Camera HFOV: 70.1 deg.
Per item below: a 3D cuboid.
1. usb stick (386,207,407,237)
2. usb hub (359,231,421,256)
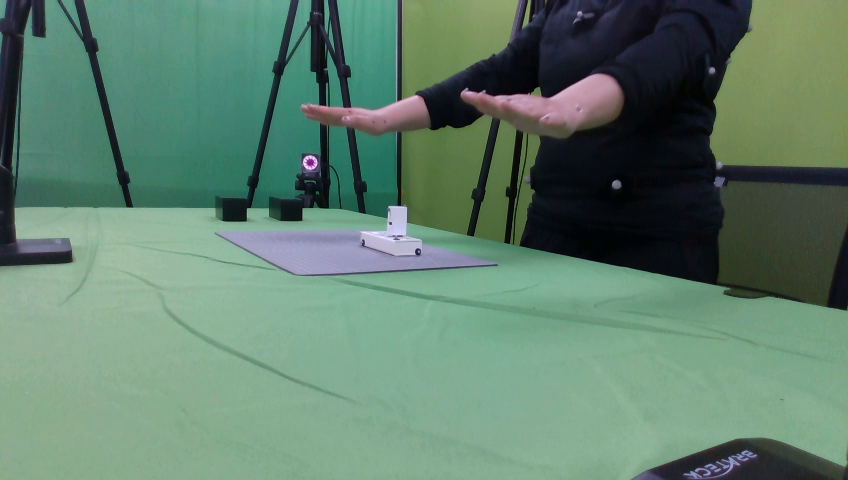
[{"bbox_3d":[-0.043,-0.022,0.937,0.027,0.059,0.021,-5,10,-34],"label":"usb stick"},{"bbox_3d":[-0.056,0.004,0.954,0.050,0.025,0.124,-2,8,-31],"label":"usb hub"}]
